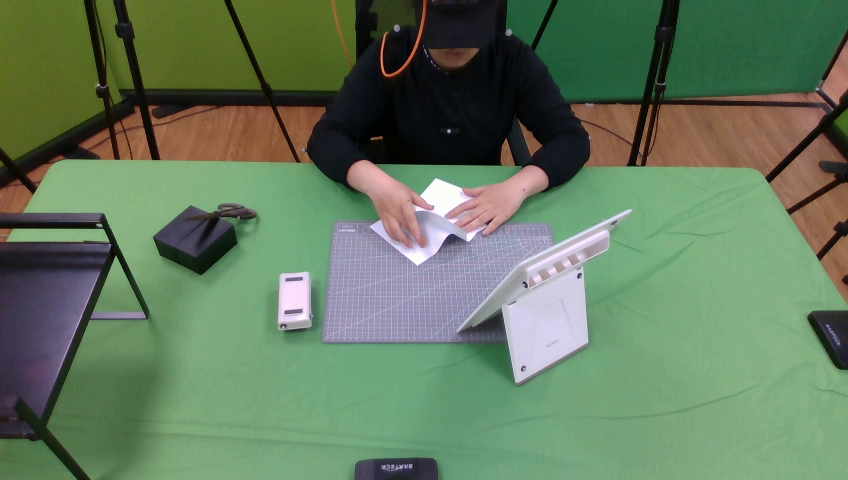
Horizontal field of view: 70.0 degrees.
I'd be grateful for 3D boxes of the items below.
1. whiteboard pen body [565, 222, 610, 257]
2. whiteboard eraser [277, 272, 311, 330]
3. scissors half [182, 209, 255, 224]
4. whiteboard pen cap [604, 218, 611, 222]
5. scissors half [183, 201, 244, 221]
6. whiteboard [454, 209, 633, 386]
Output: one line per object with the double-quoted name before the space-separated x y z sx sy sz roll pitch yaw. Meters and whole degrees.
"whiteboard pen body" 0.335 -0.004 1.228 0.141 0.017 0.017 -32 56 -29
"whiteboard eraser" -0.228 0.108 1.062 0.056 0.042 0.112 -3 46 -10
"scissors half" -0.389 -0.042 1.158 0.040 0.013 0.175 38 21 23
"whiteboard pen cap" 0.378 -0.031 1.255 0.033 0.018 0.018 -33 57 -29
"scissors half" -0.405 -0.053 1.163 0.040 0.013 0.175 27 18 8
"whiteboard" 0.211 0.111 0.954 0.217 0.306 0.143 -22 72 -24
